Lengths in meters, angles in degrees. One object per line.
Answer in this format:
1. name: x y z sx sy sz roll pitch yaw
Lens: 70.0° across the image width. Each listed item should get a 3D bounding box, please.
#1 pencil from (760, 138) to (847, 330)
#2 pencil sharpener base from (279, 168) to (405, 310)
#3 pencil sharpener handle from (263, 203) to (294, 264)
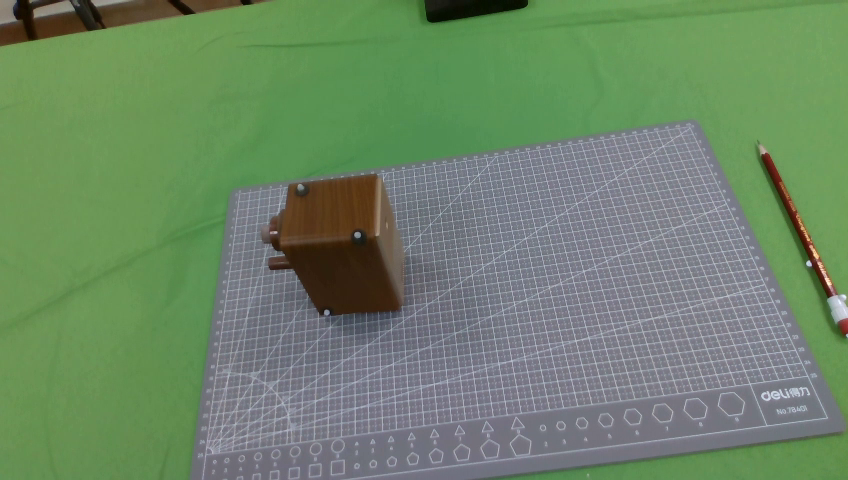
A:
1. pencil: 0.304 -0.014 0.487 0.012 0.012 0.192 -6 53 6
2. pencil sharpener base: -0.060 0.003 0.467 0.076 0.108 0.061 -5 55 6
3. pencil sharpener handle: -0.112 0.000 0.462 0.030 0.068 0.035 -5 59 6
